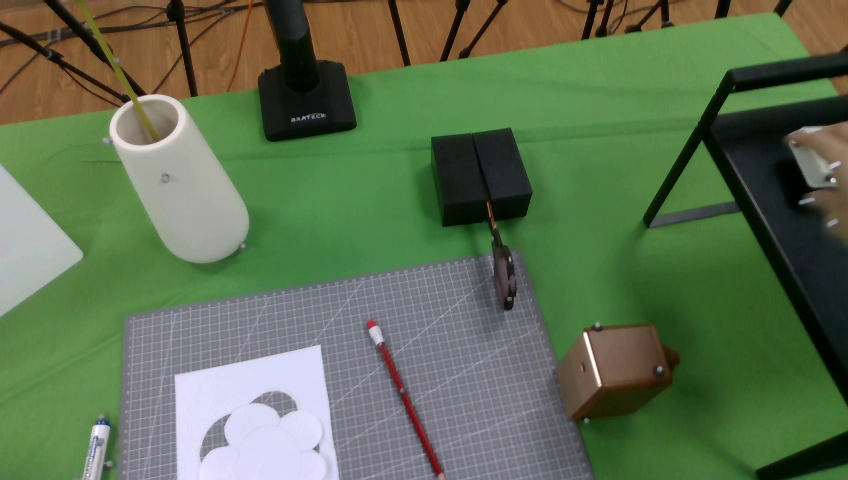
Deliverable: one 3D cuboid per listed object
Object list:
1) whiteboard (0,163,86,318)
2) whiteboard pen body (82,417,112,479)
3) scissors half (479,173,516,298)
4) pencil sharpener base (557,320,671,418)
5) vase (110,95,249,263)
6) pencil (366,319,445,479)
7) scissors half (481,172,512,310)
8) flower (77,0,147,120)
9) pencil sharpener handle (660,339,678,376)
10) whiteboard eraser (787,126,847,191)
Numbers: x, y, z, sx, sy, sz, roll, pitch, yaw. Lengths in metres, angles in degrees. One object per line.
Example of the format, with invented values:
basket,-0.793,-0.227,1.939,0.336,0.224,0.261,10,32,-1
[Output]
whiteboard,-0.546,-0.045,0.597,0.217,0.309,0.142,-42,49,-22
whiteboard pen body,-0.314,0.236,0.568,0.017,0.017,0.139,-3,58,-3
scissors half,0.080,-0.013,0.676,0.013,0.040,0.173,-3,50,-8
pencil sharpener base,0.183,0.128,0.592,0.077,0.108,0.061,-5,59,-8
vase,-0.253,-0.058,0.638,0.098,0.201,0.097,0,59,0
pencil,-0.019,0.164,0.622,0.012,0.012,0.192,-22,65,-13
scissors half,0.079,-0.002,0.694,0.013,0.040,0.174,-6,69,-3
flower,-0.261,-0.111,0.572,0.044,0.365,0.038,-16,44,-7
pencil sharpener handle,0.234,0.118,0.588,0.031,0.068,0.035,-5,54,-8
whiteboard eraser,0.392,-0.073,0.545,0.113,0.042,0.055,-2,61,-3
